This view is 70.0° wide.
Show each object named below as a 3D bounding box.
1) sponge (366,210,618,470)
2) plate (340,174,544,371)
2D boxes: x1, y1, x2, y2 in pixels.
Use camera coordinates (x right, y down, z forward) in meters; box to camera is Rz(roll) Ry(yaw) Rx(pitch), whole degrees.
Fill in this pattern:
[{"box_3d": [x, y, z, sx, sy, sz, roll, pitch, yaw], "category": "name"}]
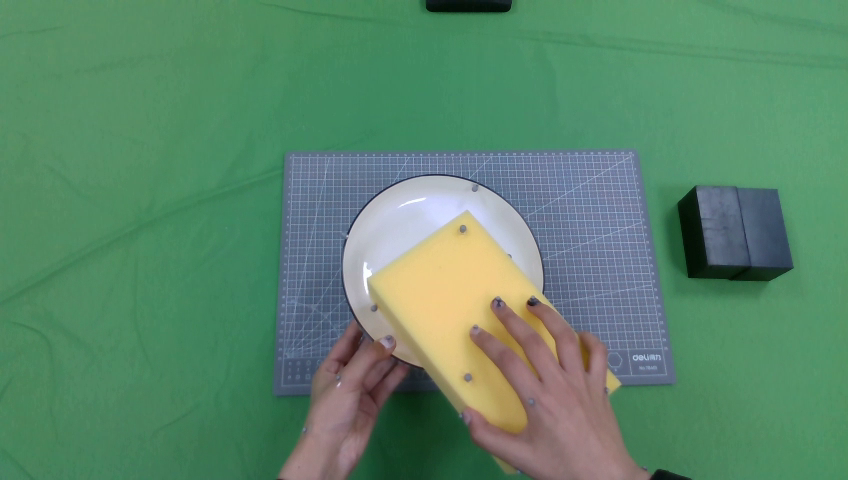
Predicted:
[{"box_3d": [0.056, 0.088, 0.552, 0.118, 0.061, 0.205, -36, 74, -16], "category": "sponge"}, {"box_3d": [0.018, 0.034, 0.618, 0.210, 0.038, 0.207, 4, 71, -10], "category": "plate"}]
